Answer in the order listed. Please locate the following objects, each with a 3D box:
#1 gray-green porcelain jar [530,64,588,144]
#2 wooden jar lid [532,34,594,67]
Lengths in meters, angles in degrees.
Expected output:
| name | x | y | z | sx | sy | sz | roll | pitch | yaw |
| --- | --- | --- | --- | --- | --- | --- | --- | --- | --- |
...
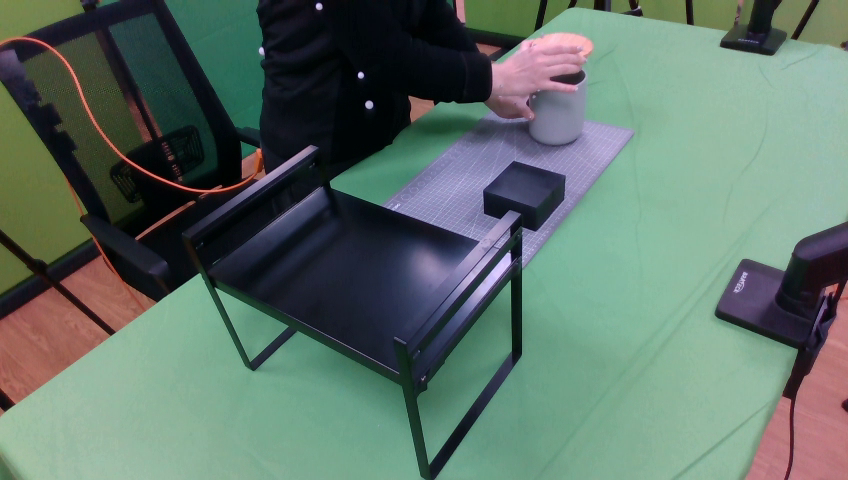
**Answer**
| name | x | y | z | sx | sy | sz | roll | pitch | yaw |
| --- | --- | --- | --- | --- | --- | --- | --- | --- | --- |
| gray-green porcelain jar | 0.254 | -0.256 | 1.151 | 0.106 | 0.127 | 0.105 | -4 | 41 | 4 |
| wooden jar lid | 0.248 | -0.338 | 1.081 | 0.108 | 0.021 | 0.108 | -2 | 40 | 3 |
